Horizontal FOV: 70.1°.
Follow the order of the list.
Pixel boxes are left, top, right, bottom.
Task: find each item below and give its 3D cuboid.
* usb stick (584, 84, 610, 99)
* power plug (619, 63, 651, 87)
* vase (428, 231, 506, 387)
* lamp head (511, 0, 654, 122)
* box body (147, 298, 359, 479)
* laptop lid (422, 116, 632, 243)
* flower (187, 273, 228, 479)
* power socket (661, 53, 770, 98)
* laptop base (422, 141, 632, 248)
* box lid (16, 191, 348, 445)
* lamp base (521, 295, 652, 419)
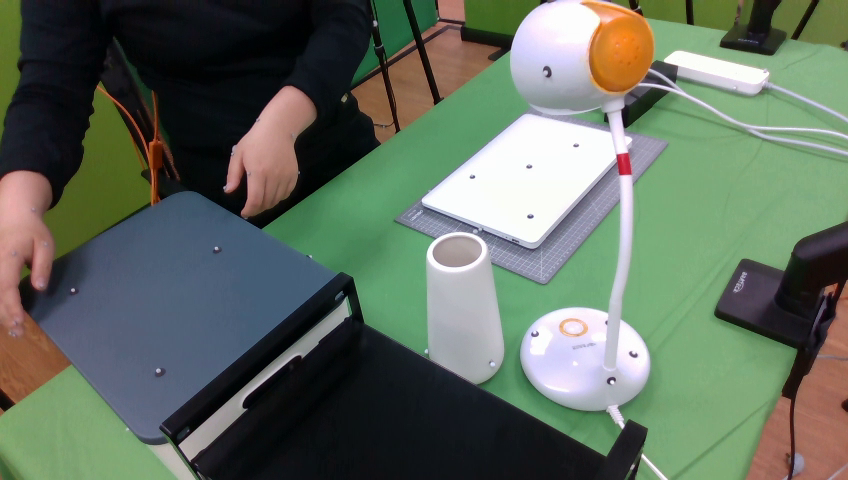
[{"bbox_3d":[0.353,-0.306,1.252,0.027,0.021,0.058,-2,1,-39],"label":"usb stick"},{"bbox_3d":[0.435,-0.341,1.265,0.035,0.053,0.072,5,30,-14],"label":"power plug"},{"bbox_3d":[0.050,0.087,0.728,0.098,0.201,0.097,-3,40,3],"label":"vase"},{"bbox_3d":[0.155,-0.168,0.563,0.113,0.113,0.122,-18,23,-12],"label":"lamp head"},{"bbox_3d":[-0.288,0.118,0.772,0.361,0.161,0.255,26,50,33],"label":"box body"},{"bbox_3d":[0.189,-0.126,1.081,0.239,0.013,0.358,23,48,35],"label":"laptop lid"},{"bbox_3d":[-0.283,0.161,0.819,0.044,0.038,0.359,10,34,-22],"label":"flower"},{"bbox_3d":[0.616,-0.355,1.292,0.225,0.033,0.072,29,53,35],"label":"power socket"},{"bbox_3d":[0.192,-0.117,1.087,0.233,0.023,0.355,20,47,35],"label":"laptop base"},{"bbox_3d":[-0.295,0.062,0.723,0.368,0.015,0.264,26,51,34],"label":"box lid"},{"bbox_3d":[0.200,0.095,0.710,0.161,0.181,0.178,-16,43,-10],"label":"lamp base"}]
